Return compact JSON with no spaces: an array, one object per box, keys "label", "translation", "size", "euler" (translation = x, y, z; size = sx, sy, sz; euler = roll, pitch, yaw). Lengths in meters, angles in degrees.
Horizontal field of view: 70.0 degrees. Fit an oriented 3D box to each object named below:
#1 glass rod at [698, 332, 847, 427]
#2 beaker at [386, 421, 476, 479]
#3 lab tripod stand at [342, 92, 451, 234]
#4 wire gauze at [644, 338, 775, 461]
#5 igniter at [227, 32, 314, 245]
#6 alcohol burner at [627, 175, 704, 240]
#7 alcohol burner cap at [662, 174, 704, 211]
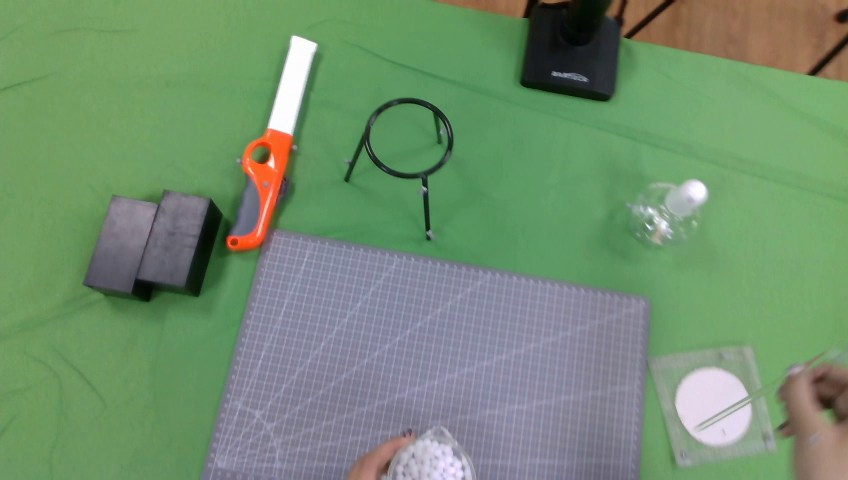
[{"label":"glass rod","translation":[0.301,0.115,0.509],"size":[0.008,0.200,0.008],"euler":[16,46,-16]},{"label":"beaker","translation":[0.005,0.205,0.541],"size":[0.074,0.101,0.083],"euler":[9,73,1]},{"label":"lab tripod stand","translation":[-0.020,-0.093,0.662],"size":[0.148,0.132,0.147],"euler":[1,72,-3]},{"label":"wire gauze","translation":[0.321,0.176,0.678],"size":[0.125,0.011,0.120],"euler":[-7,75,-4]},{"label":"igniter","translation":[-0.177,-0.121,0.713],"size":[0.057,0.025,0.275],"euler":[16,73,-15]},{"label":"alcohol burner","translation":[0.277,-0.043,0.682],"size":[0.078,0.119,0.077],"euler":[1,72,-4]},{"label":"alcohol burner cap","translation":[0.280,-0.053,0.647],"size":[0.034,0.048,0.033],"euler":[0,77,0]}]
